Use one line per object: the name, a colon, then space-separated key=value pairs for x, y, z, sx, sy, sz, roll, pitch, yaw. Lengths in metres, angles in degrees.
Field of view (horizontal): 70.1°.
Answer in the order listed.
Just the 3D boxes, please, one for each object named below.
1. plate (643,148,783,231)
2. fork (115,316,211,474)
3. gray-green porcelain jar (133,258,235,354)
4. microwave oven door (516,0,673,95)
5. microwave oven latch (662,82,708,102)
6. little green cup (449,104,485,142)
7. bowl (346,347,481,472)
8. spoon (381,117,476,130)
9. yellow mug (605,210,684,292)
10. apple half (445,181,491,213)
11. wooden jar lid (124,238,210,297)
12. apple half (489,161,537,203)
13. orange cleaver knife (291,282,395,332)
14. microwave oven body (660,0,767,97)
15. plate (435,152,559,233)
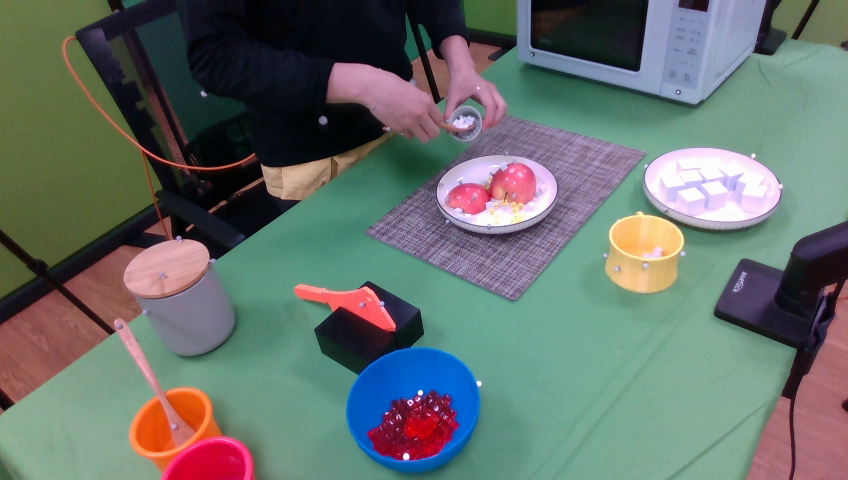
plate: x=0.464 y=-0.080 z=0.986 sx=0.207 sy=0.039 sz=0.206 roll=-4 pitch=41 yaw=4
fork: x=-0.308 y=0.179 z=0.708 sx=0.028 sy=0.018 sz=0.207 roll=-30 pitch=89 yaw=-22
gray-green porcelain jar: x=-0.327 y=0.086 z=0.836 sx=0.106 sy=0.127 sz=0.105 roll=-4 pitch=41 yaw=4
microwave oven door: x=0.344 y=-0.458 z=1.257 sx=0.353 sy=0.245 sz=0.039 roll=26 pitch=52 yaw=33
microwave oven latch: x=0.518 y=-0.298 z=1.202 sx=0.078 sy=0.029 sz=0.030 roll=28 pitch=53 yaw=35
little green cup: x=0.076 y=-0.200 z=1.047 sx=0.061 sy=0.039 sz=0.061 roll=-1 pitch=85 yaw=17
bowl: x=-0.008 y=0.205 z=0.691 sx=0.151 sy=0.077 sz=0.150 roll=-4 pitch=40 yaw=4
spoon: x=0.009 y=-0.191 z=0.986 sx=0.195 sy=0.021 sz=0.041 roll=-8 pitch=32 yaw=-40
yellow mug: x=0.318 y=0.007 z=0.883 sx=0.100 sy=0.064 sz=0.130 roll=1 pitch=41 yaw=8
apple half: x=0.076 y=-0.083 z=1.029 sx=0.081 sy=0.033 sz=0.081 roll=-2 pitch=42 yaw=2
wooden jar lid: x=-0.335 y=0.038 z=0.794 sx=0.108 sy=0.021 sz=0.108 roll=-2 pitch=40 yaw=2
apple half: x=0.154 y=-0.106 z=1.030 sx=0.080 sy=0.053 sz=0.075 roll=21 pitch=46 yaw=31
orange cleaver knife: x=-0.116 y=0.091 z=0.835 sx=0.209 sy=0.077 sz=0.012 roll=2 pitch=32 yaw=47
microwave oven body: x=0.474 y=-0.516 z=1.313 sx=0.438 sy=0.261 sz=0.327 roll=26 pitch=51 yaw=34
plate: x=0.124 y=-0.078 z=1.026 sx=0.209 sy=0.038 sz=0.208 roll=-4 pitch=40 yaw=4
